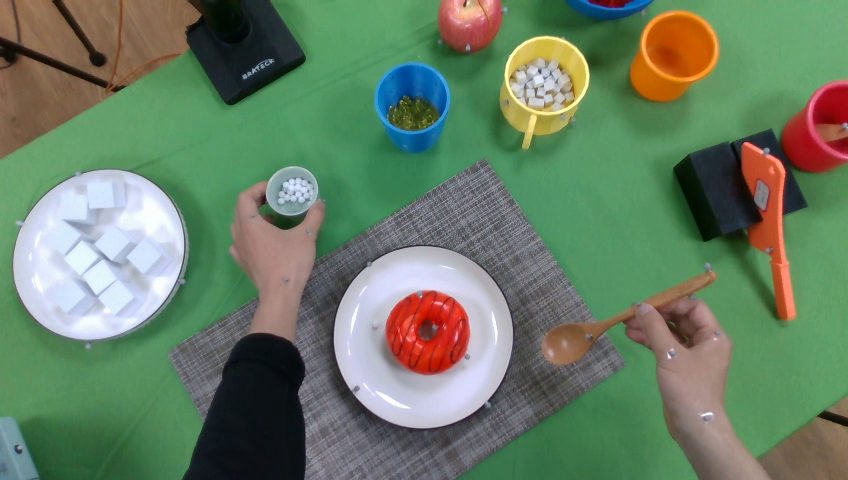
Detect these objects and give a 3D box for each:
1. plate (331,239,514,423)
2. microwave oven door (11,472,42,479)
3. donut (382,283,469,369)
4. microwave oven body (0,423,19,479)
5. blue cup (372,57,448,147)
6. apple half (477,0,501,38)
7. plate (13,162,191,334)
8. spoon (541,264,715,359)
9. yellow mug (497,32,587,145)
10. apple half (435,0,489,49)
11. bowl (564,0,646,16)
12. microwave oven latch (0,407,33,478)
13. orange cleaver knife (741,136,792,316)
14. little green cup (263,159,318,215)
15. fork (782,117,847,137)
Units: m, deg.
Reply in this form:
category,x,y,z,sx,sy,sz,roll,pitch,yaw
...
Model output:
category,x,y,z,sx,sy,sz,roll,pitch,yaw
plate,-0.002,0.103,0.701,0.209,0.038,0.208,0,80,1
microwave oven door,-0.363,0.395,0.536,0.039,0.245,0.354,-29,80,-5
donut,0.002,0.098,0.690,0.099,0.048,0.098,0,81,3
microwave oven body,-0.511,0.430,0.539,0.326,0.261,0.440,-29,81,-5
blue cup,-0.015,-0.154,0.720,0.092,0.100,0.092,0,80,0
apple half,0.077,-0.294,0.757,0.033,0.081,0.081,-27,79,-1
plate,-0.380,0.010,0.730,0.207,0.039,0.206,0,79,1
spoon,0.195,0.071,0.597,0.194,0.022,0.041,-36,61,39
yellow mug,0.138,-0.178,0.739,0.100,0.064,0.130,16,81,4
apple half,0.041,-0.276,0.756,0.053,0.075,0.080,-26,83,0
bowl,0.224,-0.340,0.761,0.151,0.077,0.151,0,80,1
microwave oven latch,-0.466,0.226,0.673,0.030,0.029,0.079,-25,81,-4
orange cleaver knife,0.392,-0.014,0.696,0.012,0.076,0.212,-17,109,0
little green cup,-0.156,-0.061,0.721,0.061,0.039,0.061,-1,67,4
fork,0.519,-0.130,0.682,0.206,0.019,0.028,8,64,45
